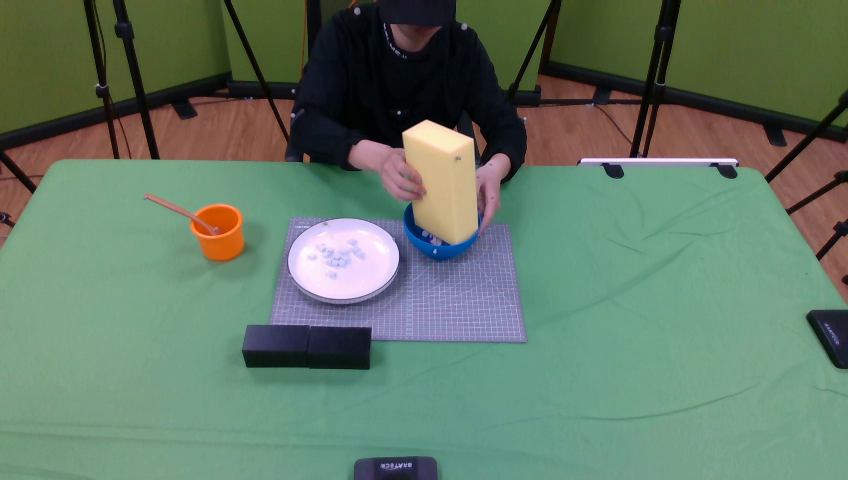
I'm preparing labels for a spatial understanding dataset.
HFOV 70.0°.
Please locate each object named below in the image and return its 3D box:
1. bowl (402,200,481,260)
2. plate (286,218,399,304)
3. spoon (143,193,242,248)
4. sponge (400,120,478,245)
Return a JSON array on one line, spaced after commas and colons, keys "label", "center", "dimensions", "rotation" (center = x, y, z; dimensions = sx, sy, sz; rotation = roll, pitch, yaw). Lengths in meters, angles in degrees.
[{"label": "bowl", "center": [0.031, -0.015, 1.172], "dimensions": [0.151, 0.077, 0.150], "rotation": [2, 46, -2]}, {"label": "plate", "center": [-0.150, 0.042, 1.131], "dimensions": [0.209, 0.038, 0.208], "rotation": [2, 45, -2]}, {"label": "spoon", "center": [-0.421, -0.037, 1.113], "dimensions": [0.021, 0.195, 0.041], "rotation": [-37, 37, 23]}, {"label": "sponge", "center": [0.030, -0.099, 1.090], "dimensions": [0.117, 0.208, 0.061], "rotation": [30, 54, 36]}]
